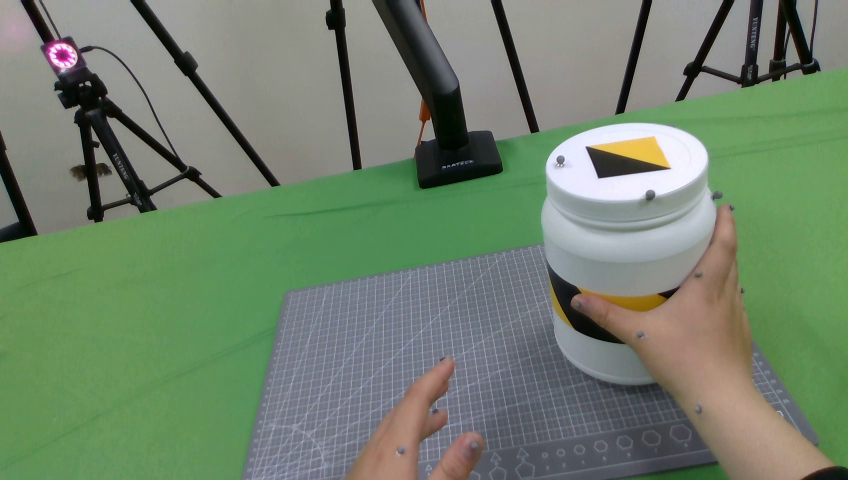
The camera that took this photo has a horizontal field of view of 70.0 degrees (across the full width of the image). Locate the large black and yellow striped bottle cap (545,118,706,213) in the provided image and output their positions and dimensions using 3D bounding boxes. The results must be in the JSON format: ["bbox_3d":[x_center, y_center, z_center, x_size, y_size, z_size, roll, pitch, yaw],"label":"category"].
[{"bbox_3d":[0.148,-0.059,0.453,0.115,0.019,0.114,-8,36,6],"label":"large black and yellow striped bottle cap"}]

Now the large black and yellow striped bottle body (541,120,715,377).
[{"bbox_3d":[0.167,0.008,0.502,0.130,0.186,0.129,-10,36,8],"label":"large black and yellow striped bottle body"}]
